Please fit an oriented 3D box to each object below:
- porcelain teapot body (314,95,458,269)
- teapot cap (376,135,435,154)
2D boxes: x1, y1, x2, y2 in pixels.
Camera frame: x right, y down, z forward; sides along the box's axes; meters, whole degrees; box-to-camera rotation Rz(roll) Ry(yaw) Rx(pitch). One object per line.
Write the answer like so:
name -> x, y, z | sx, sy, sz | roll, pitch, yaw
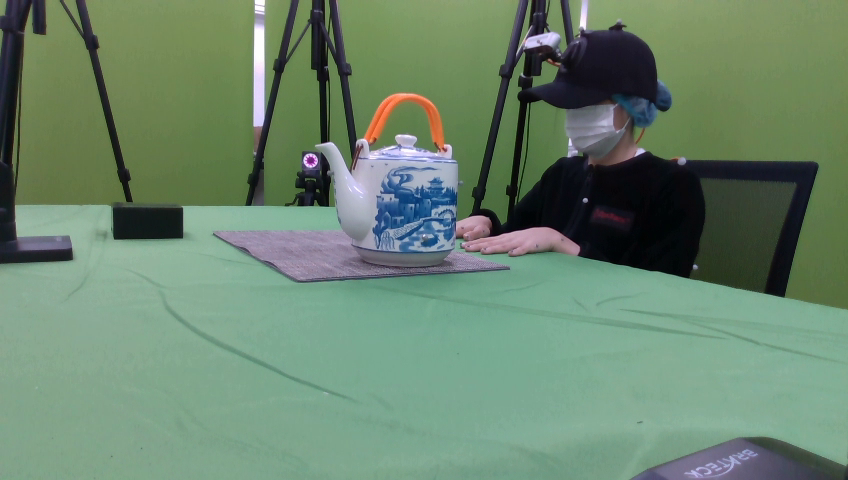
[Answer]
porcelain teapot body -> -0.049, -0.079, 0.800 | 0.206, 0.225, 0.144 | -3, 9, -37
teapot cap -> -0.024, -0.118, 0.811 | 0.085, 0.044, 0.085 | 4, 8, 0
